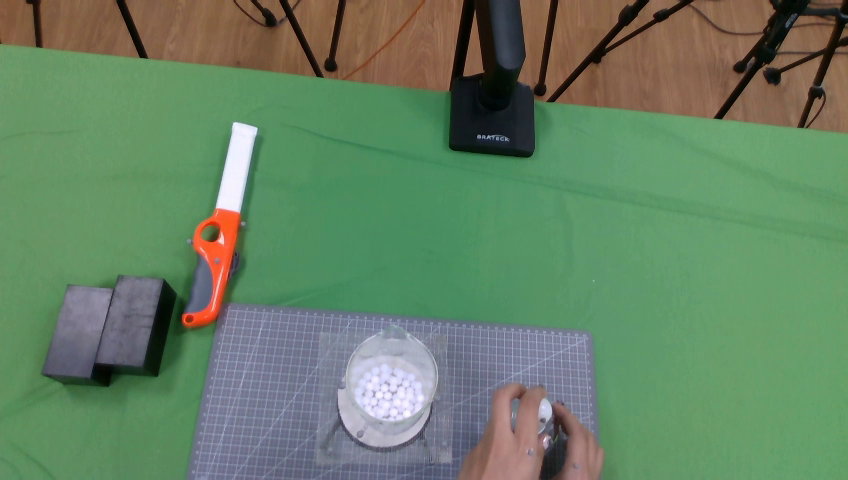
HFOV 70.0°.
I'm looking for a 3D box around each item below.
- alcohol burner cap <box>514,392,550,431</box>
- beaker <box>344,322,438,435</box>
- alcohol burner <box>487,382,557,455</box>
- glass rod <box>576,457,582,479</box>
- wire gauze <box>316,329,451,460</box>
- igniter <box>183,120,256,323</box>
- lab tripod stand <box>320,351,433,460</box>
[{"bbox_3d":[0.112,0.171,0.614,0.034,0.048,0.033,4,58,-5],"label":"alcohol burner cap"},{"bbox_3d":[-0.030,0.124,0.522,0.074,0.101,0.083,2,64,-5],"label":"beaker"},{"bbox_3d":[0.108,0.187,0.646,0.078,0.120,0.077,2,64,-3],"label":"alcohol burner"},{"bbox_3d":[0.170,0.336,0.645,0.008,0.008,0.198,4,66,-5],"label":"glass rod"},{"bbox_3d":[-0.038,0.142,0.566,0.125,0.011,0.120,1,64,-4],"label":"wire gauze"},{"bbox_3d":[-0.248,-0.028,0.750,0.057,0.025,0.274,12,65,-17],"label":"igniter"},{"bbox_3d":[-0.044,0.171,0.625,0.148,0.132,0.147,2,65,-3],"label":"lab tripod stand"}]
